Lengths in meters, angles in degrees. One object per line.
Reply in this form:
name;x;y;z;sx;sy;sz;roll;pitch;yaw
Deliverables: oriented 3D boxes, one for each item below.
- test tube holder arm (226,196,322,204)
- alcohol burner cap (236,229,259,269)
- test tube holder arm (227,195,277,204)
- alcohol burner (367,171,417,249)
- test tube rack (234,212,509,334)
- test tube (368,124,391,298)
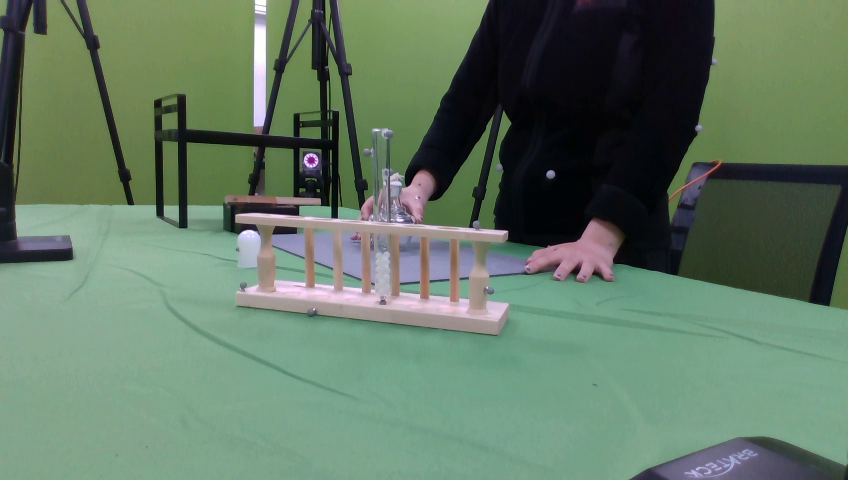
test tube holder arm;-0.274;-0.074;1.118;0.179;0.015;0.013;-2;-6;-34
alcohol burner cap;-0.220;0.010;0.759;0.034;0.048;0.034;0;12;0
test tube holder arm;-0.308;-0.074;1.088;0.088;0.015;0.010;-2;-6;-35
alcohol burner;-0.048;-0.046;0.926;0.078;0.119;0.078;3;10;0
test tube rack;-0.046;0.023;0.547;0.242;0.085;0.067;4;8;15
test tube;-0.038;-0.023;0.519;0.017;0.150;0.017;-1;12;0
